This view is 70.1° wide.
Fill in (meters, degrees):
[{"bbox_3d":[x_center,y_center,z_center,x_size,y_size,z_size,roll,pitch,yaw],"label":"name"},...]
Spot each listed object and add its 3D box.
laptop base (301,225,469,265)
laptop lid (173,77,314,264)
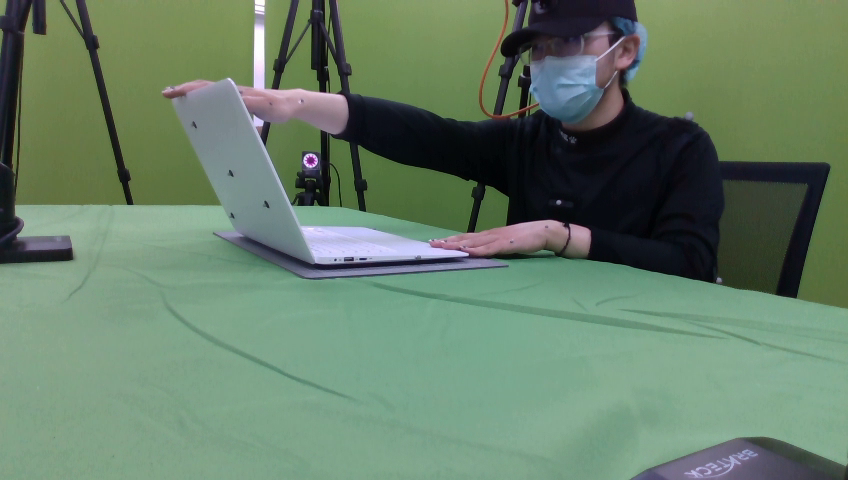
[{"bbox_3d":[-0.124,0.005,0.936,0.237,0.023,0.352,2,7,-33],"label":"laptop base"},{"bbox_3d":[-0.261,-0.094,0.832,0.013,0.242,0.355,-30,24,-25],"label":"laptop lid"}]
